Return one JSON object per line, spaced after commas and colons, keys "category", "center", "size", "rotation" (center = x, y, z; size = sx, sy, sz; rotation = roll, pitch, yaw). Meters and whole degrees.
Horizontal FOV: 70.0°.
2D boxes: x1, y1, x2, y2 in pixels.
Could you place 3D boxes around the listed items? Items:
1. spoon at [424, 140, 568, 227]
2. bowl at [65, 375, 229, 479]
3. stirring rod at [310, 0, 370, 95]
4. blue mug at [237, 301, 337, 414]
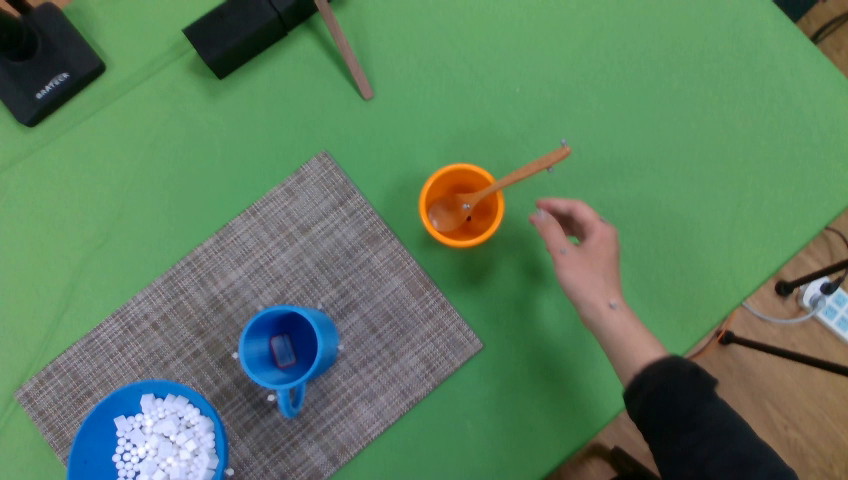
{"category": "spoon", "center": [0.071, -0.059, 0.644], "size": [0.022, 0.193, 0.041], "rotation": [-13, 81, -46]}
{"category": "bowl", "center": [-0.258, 0.213, 0.599], "size": [0.151, 0.077, 0.150], "rotation": [-1, 73, 2]}
{"category": "stirring rod", "center": [-0.110, -0.251, 0.705], "size": [0.014, 0.006, 0.177], "rotation": [-31, 106, -9]}
{"category": "blue mug", "center": [-0.141, 0.124, 0.641], "size": [0.082, 0.106, 0.116], "rotation": [-2, 83, 0]}
